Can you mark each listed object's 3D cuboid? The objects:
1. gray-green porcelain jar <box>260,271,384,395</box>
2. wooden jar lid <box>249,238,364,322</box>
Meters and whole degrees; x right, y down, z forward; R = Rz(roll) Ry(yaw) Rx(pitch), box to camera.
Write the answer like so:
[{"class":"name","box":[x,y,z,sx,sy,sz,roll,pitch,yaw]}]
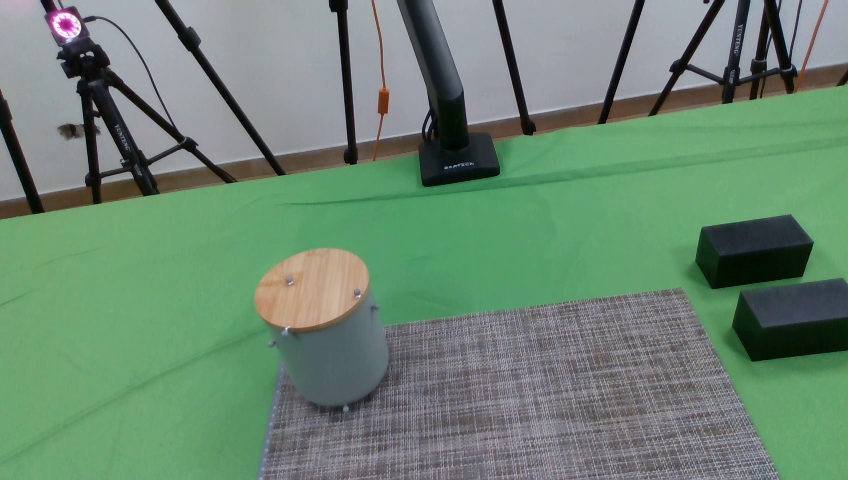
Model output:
[{"class":"gray-green porcelain jar","box":[-0.099,0.086,0.612,0.106,0.128,0.105,-6,40,5]},{"class":"wooden jar lid","box":[-0.109,0.040,0.573,0.108,0.021,0.107,-4,42,4]}]
